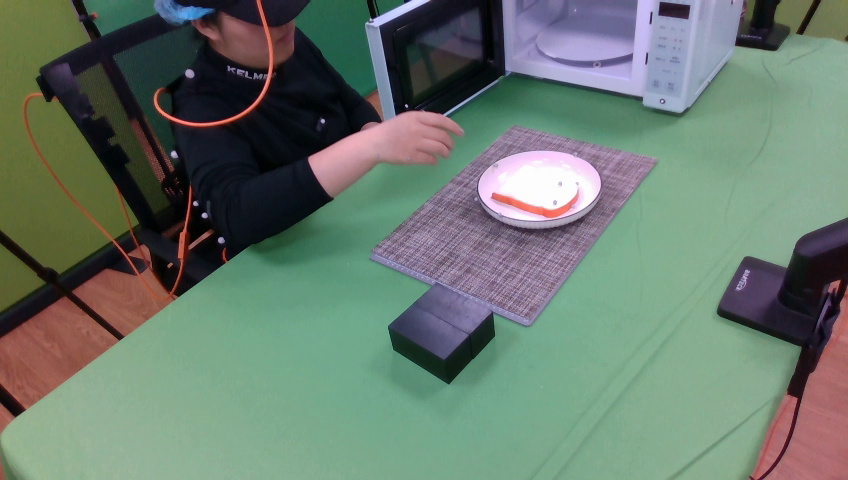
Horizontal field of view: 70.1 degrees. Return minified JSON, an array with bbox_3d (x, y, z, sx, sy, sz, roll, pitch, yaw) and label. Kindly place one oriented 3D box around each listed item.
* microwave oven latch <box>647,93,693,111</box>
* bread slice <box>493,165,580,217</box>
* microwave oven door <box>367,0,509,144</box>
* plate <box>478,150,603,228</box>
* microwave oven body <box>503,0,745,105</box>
[{"bbox_3d":[0.477,-0.273,1.177,0.078,0.029,0.030,22,50,33],"label":"microwave oven latch"},{"bbox_3d":[0.200,-0.084,1.034,0.130,0.019,0.105,23,50,35],"label":"bread slice"},{"bbox_3d":[0.044,-0.384,1.234,0.039,0.245,0.357,28,53,36],"label":"microwave oven door"},{"bbox_3d":[0.198,-0.084,1.030,0.209,0.038,0.208,-5,40,5],"label":"plate"},{"bbox_3d":[0.416,-0.486,1.290,0.438,0.261,0.327,21,50,33],"label":"microwave oven body"}]
